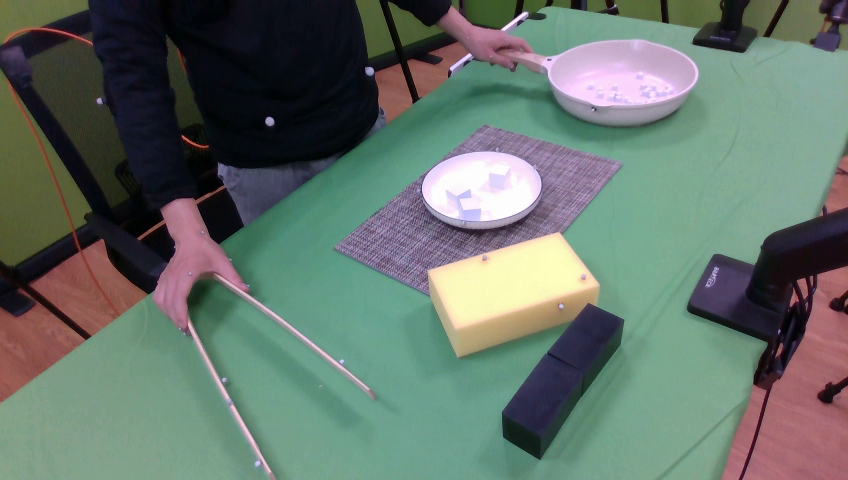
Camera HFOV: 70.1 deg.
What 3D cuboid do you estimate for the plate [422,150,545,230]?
[{"bbox_3d":[0.100,-0.082,1.031,0.207,0.039,0.206,-4,40,4],"label":"plate"}]

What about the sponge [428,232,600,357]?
[{"bbox_3d":[0.120,0.071,0.834,0.207,0.061,0.117,-16,43,-12],"label":"sponge"}]

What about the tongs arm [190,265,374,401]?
[{"bbox_3d":[-0.206,0.117,0.830,0.384,0.028,0.028,27,62,34],"label":"tongs arm"}]

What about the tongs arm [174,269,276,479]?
[{"bbox_3d":[-0.263,0.158,0.801,0.051,0.027,0.381,-34,48,-18],"label":"tongs arm"}]

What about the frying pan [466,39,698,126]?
[{"bbox_3d":[0.312,-0.359,1.277,0.485,0.103,0.307,23,47,19],"label":"frying pan"}]
